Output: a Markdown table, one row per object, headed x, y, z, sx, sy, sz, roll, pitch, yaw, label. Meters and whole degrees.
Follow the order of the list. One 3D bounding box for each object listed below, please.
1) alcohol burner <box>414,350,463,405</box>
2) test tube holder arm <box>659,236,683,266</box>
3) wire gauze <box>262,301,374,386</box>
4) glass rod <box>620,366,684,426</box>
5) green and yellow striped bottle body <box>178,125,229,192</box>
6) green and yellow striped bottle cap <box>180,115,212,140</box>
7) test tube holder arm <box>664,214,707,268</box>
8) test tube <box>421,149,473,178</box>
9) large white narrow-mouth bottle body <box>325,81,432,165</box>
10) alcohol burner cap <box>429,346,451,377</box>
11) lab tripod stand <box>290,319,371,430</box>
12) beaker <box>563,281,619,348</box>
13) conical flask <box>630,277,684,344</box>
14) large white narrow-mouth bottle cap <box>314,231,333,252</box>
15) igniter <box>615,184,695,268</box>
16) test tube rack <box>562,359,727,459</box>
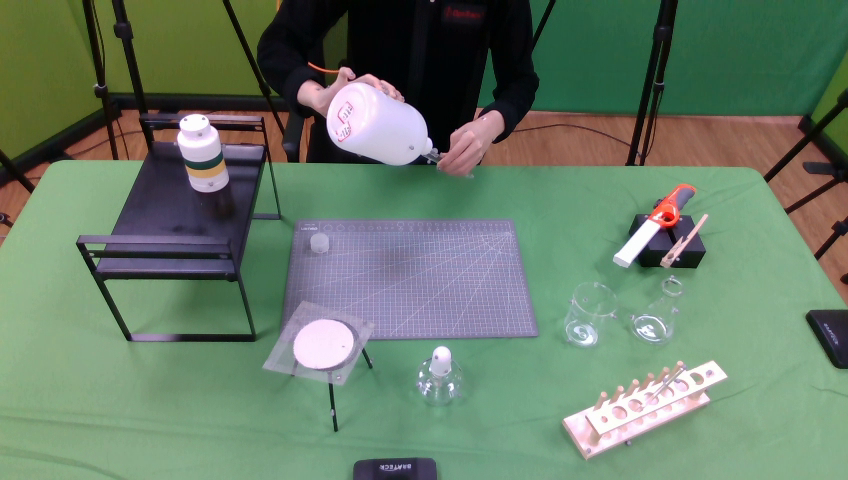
| x | y | z | sx | sy | sz | roll | pitch | yaw | label |
| --- | --- | --- | --- | --- | --- | --- | --- | --- | --- |
| 0.023 | 0.205 | 0.939 | 0.078 | 0.120 | 0.077 | 1 | 48 | -1 | alcohol burner |
| 0.472 | 0.020 | 1.149 | 0.010 | 0.015 | 0.088 | 35 | 54 | 27 | test tube holder arm |
| -0.150 | 0.148 | 0.873 | 0.121 | 0.011 | 0.124 | 14 | 46 | 12 | wire gauze |
| 0.323 | 0.227 | 0.866 | 0.008 | 0.200 | 0.008 | 5 | 51 | -6 | glass rod |
| -0.361 | -0.142 | 0.989 | 0.063 | 0.120 | 0.063 | 2 | 46 | -2 | green and yellow striped bottle body |
| -0.358 | -0.177 | 0.951 | 0.045 | 0.020 | 0.045 | 2 | 45 | -1 | green and yellow striped bottle cap |
| 0.507 | -0.001 | 1.171 | 0.013 | 0.015 | 0.178 | 34 | 54 | 26 | test tube holder arm |
| 0.044 | -0.138 | 1.094 | 0.151 | 0.017 | 0.017 | 17 | 26 | -51 | test tube |
| -0.057 | -0.174 | 0.960 | 0.195 | 0.102 | 0.101 | 13 | 29 | -51 | large white narrow-mouth bottle body |
| 0.026 | 0.180 | 0.912 | 0.034 | 0.048 | 0.033 | 1 | 47 | -1 | alcohol burner cap |
| -0.146 | 0.194 | 0.923 | 0.148 | 0.132 | 0.147 | 1 | 47 | -1 | lab tripod stand |
| 0.283 | 0.129 | 1.041 | 0.074 | 0.101 | 0.083 | 11 | 46 | 7 | beaker |
| 0.409 | 0.117 | 1.045 | 0.075 | 0.122 | 0.075 | 2 | 46 | -2 | conical flask |
| -0.195 | 0.003 | 1.178 | 0.038 | 0.024 | 0.037 | 2 | 45 | -2 | large white narrow-mouth bottle cap |
| 0.459 | -0.035 | 1.197 | 0.057 | 0.025 | 0.276 | 33 | 55 | 27 | igniter |
| 0.341 | 0.247 | 0.940 | 0.243 | 0.085 | 0.066 | -16 | 49 | -18 | test tube rack |
